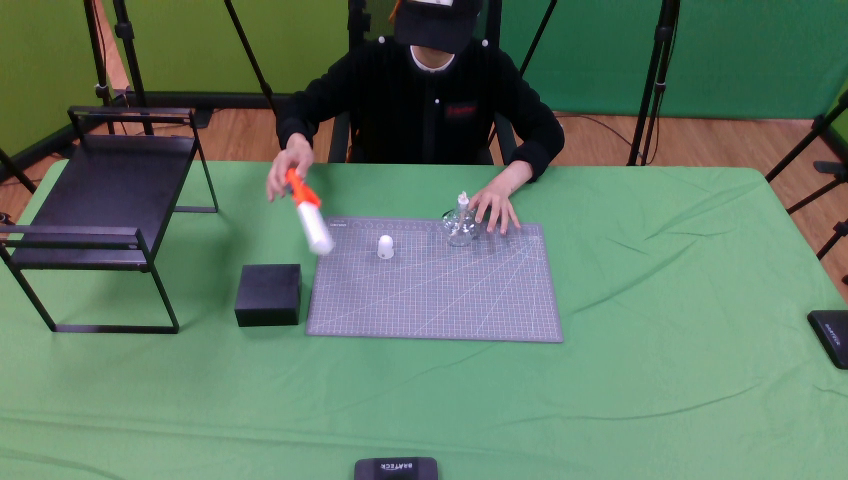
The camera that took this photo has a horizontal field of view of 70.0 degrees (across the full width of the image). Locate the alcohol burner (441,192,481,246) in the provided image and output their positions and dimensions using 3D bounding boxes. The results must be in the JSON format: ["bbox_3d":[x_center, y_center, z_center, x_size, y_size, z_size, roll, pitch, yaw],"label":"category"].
[{"bbox_3d":[0.074,-0.046,1.176,0.078,0.119,0.077,3,44,-2],"label":"alcohol burner"}]

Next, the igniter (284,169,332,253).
[{"bbox_3d":[-0.200,-0.057,1.023,0.057,0.025,0.274,21,20,-32],"label":"igniter"}]

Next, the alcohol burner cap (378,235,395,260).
[{"bbox_3d":[-0.073,0.012,1.160,0.034,0.048,0.033,1,46,0],"label":"alcohol burner cap"}]
